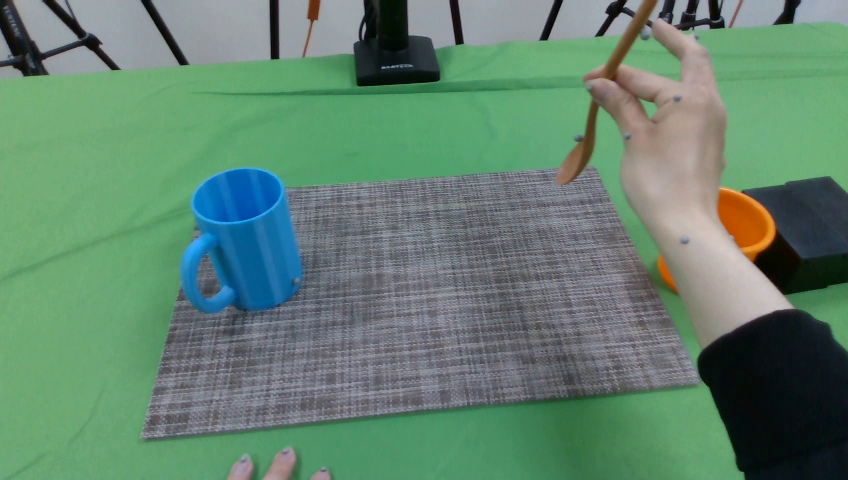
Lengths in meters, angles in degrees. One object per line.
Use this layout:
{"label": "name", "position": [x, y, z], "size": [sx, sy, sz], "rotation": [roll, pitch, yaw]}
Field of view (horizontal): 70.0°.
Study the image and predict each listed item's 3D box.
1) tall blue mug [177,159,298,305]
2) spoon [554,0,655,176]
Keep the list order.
{"label": "tall blue mug", "position": [-0.161, 0.004, 0.537], "size": [0.078, 0.109, 0.106], "rotation": [2, 45, 1]}
{"label": "spoon", "position": [0.131, -0.112, 0.454], "size": [0.021, 0.195, 0.041], "rotation": [16, 60, 6]}
